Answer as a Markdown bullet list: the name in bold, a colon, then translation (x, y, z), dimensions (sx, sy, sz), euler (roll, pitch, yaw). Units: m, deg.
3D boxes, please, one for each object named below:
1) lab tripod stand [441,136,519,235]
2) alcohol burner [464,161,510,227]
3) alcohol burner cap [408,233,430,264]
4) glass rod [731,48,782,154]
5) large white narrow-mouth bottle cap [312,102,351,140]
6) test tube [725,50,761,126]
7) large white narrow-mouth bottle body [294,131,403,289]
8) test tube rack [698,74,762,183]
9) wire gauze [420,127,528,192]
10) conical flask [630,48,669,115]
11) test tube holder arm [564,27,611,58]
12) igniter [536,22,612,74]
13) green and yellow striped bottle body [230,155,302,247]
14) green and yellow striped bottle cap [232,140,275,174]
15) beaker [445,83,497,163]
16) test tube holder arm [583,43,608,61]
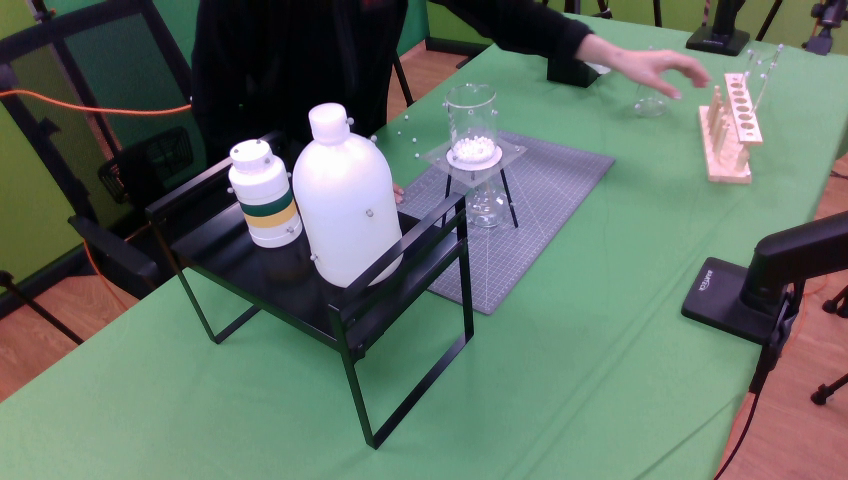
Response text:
- **lab tripod stand**: translation (0.083, -0.086, 0.976), dimensions (0.148, 0.132, 0.147), euler (-4, 42, 4)
- **alcohol burner**: translation (0.102, -0.081, 0.982), dimensions (0.078, 0.119, 0.077), euler (-4, 43, 4)
- **alcohol burner cap**: translation (-0.010, 0.010, 0.947), dimensions (0.034, 0.048, 0.033), euler (-5, 41, 5)
- **glass rod**: translation (0.554, -0.228, 1.014), dimensions (0.008, 0.200, 0.008), euler (1, 44, -1)
- **large white narrow-mouth bottle cap**: translation (-0.089, -0.114, 0.579), dimensions (0.038, 0.024, 0.037), euler (-4, 39, 3)
- **test tube**: translation (0.570, -0.269, 1.085), dimensions (0.017, 0.151, 0.017), euler (-1, 45, 2)
- **large white narrow-mouth bottle body**: translation (-0.082, -0.047, 0.634), dimensions (0.102, 0.195, 0.101), euler (-4, 39, 4)
- **test tube rack**: translation (0.547, -0.208, 1.095), dimensions (0.066, 0.085, 0.242), euler (5, 42, 15)
- **wire gauze**: translation (0.076, -0.131, 0.927), dimensions (0.122, 0.011, 0.124), euler (-34, 49, -25)
- **conical flask**: translation (0.457, -0.317, 1.205), dimensions (0.075, 0.122, 0.075), euler (-4, 41, 4)
- **test tube holder arm**: translation (0.369, -0.450, 1.373), dimensions (0.013, 0.015, 0.177), euler (-40, 41, 10)
- **igniter**: translation (0.330, -0.438, 1.366), dimensions (0.057, 0.025, 0.274), euler (-11, 41, -19)
- **green and yellow striped bottle body**: translation (-0.188, -0.055, 0.714), dimensions (0.063, 0.120, 0.063), euler (-4, 41, 4)
- **green and yellow striped bottle cap**: translation (-0.192, -0.093, 0.680), dimensions (0.045, 0.020, 0.045), euler (-5, 39, 5)
- **beaker**: translation (0.073, -0.175, 0.904), dimensions (0.074, 0.101, 0.084), euler (3, 41, 13)
- **test tube holder arm**: translation (0.379, -0.420, 1.341), dimensions (0.010, 0.015, 0.087), euler (-39, 41, 10)
